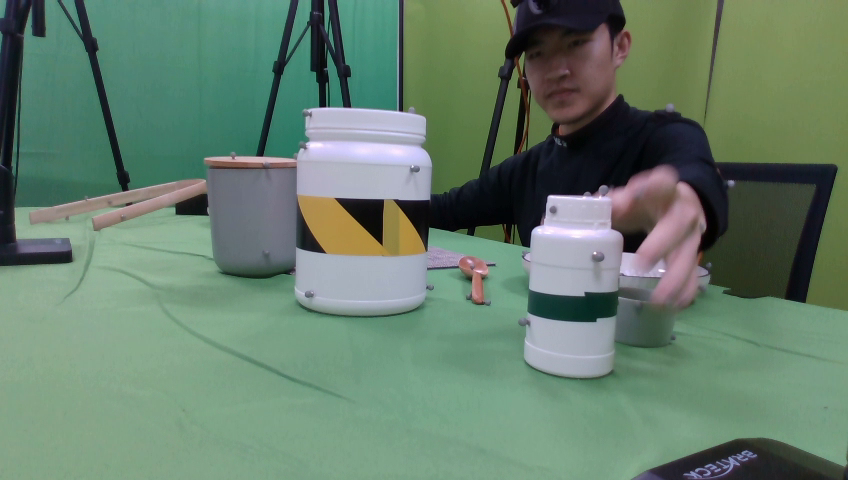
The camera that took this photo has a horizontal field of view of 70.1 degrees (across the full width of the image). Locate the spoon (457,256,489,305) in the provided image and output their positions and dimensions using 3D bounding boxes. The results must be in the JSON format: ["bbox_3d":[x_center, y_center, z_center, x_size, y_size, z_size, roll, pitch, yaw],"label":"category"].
[{"bbox_3d":[0.059,0.044,0.696,0.041,0.021,0.193,21,7,0],"label":"spoon"}]

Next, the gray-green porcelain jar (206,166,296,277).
[{"bbox_3d":[-0.201,-0.024,0.724,0.106,0.126,0.106,-1,9,1],"label":"gray-green porcelain jar"}]

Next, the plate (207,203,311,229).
[{"bbox_3d":[-0.342,-0.050,1.259,0.208,0.039,0.207,2,7,0],"label":"plate"}]

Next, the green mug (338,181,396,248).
[{"bbox_3d":[-0.098,-0.044,0.995,0.093,0.105,0.125,-1,7,-21],"label":"green mug"}]

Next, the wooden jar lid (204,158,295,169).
[{"bbox_3d":[-0.202,-0.086,0.714,0.108,0.020,0.108,3,11,0],"label":"wooden jar lid"}]

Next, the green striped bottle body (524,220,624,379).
[{"bbox_3d":[0.104,0.030,0.422,0.063,0.119,0.063,2,8,0],"label":"green striped bottle body"}]

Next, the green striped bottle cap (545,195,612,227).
[{"bbox_3d":[0.106,-0.020,0.415,0.044,0.020,0.044,2,5,0],"label":"green striped bottle cap"}]

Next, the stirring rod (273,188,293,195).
[{"bbox_3d":[-0.353,-0.122,1.518,0.006,0.014,0.176,1,7,2],"label":"stirring rod"}]

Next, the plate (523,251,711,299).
[{"bbox_3d":[0.219,0.042,0.706,0.209,0.038,0.209,2,7,0],"label":"plate"}]

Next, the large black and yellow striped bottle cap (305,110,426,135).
[{"bbox_3d":[-0.055,-0.110,0.574,0.115,0.019,0.115,1,7,0],"label":"large black and yellow striped bottle cap"}]

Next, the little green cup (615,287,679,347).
[{"bbox_3d":[0.180,0.064,0.506,0.061,0.038,0.061,0,8,0],"label":"little green cup"}]

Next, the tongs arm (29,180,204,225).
[{"bbox_3d":[-0.609,-0.083,1.245,0.050,0.026,0.386,5,16,23],"label":"tongs arm"}]

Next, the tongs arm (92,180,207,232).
[{"bbox_3d":[-0.534,-0.076,1.221,0.028,0.028,0.388,-2,15,12],"label":"tongs arm"}]

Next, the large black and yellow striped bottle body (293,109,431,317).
[{"bbox_3d":[-0.060,-0.028,0.584,0.131,0.184,0.130,2,7,0],"label":"large black and yellow striped bottle body"}]
